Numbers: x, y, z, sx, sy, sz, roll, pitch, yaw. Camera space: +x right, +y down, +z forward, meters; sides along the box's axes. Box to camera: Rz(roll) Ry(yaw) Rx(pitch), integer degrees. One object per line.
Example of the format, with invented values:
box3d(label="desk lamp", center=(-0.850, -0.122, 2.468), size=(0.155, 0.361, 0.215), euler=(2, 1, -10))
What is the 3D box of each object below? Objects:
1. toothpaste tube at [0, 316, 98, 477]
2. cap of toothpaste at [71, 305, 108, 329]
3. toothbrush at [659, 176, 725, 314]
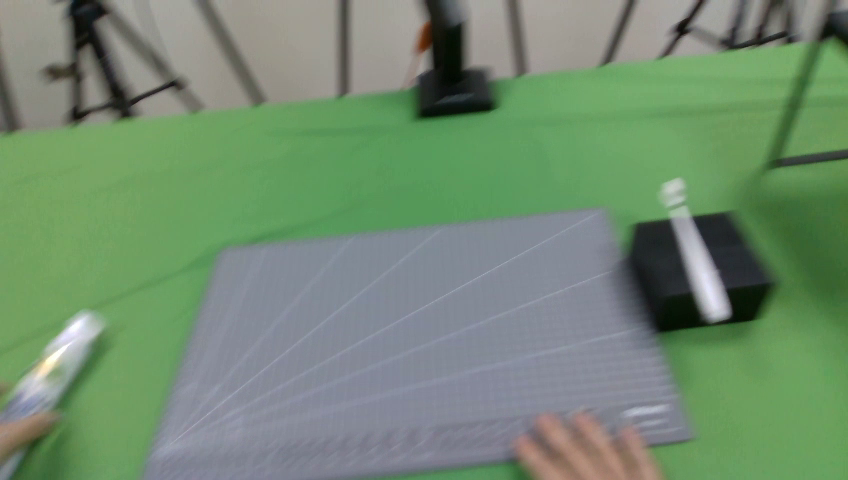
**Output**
box3d(label="toothpaste tube", center=(-0.358, 0.136, 0.562), size=(0.055, 0.035, 0.163), euler=(1, 46, 14))
box3d(label="cap of toothpaste", center=(-0.340, 0.080, 0.614), size=(0.037, 0.038, 0.011), euler=(3, 46, 12))
box3d(label="toothbrush", center=(0.249, -0.002, 0.567), size=(0.014, 0.017, 0.180), euler=(0, 42, 2))
